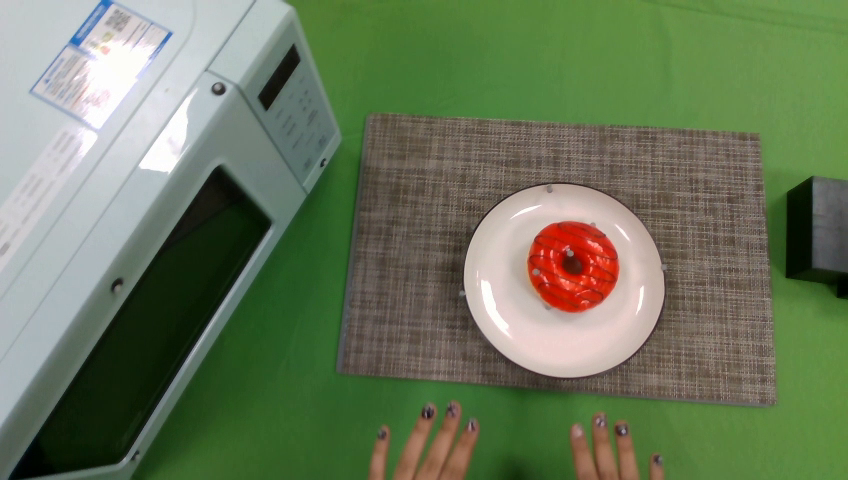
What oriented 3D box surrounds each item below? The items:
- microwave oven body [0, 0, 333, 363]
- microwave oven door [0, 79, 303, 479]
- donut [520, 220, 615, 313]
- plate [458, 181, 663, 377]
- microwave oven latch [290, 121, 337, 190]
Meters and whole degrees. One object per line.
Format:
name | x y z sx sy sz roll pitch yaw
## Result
microwave oven body | -0.344 -0.038 0.555 0.325 0.261 0.440 28 79 7
microwave oven door | -0.235 0.063 0.521 0.039 0.245 0.355 27 78 9
donut | 0.149 0.027 0.630 0.099 0.048 0.098 0 77 -1
plate | 0.141 0.040 0.638 0.209 0.038 0.208 0 75 1
microwave oven latch | -0.125 -0.097 0.665 0.030 0.029 0.079 28 79 8
